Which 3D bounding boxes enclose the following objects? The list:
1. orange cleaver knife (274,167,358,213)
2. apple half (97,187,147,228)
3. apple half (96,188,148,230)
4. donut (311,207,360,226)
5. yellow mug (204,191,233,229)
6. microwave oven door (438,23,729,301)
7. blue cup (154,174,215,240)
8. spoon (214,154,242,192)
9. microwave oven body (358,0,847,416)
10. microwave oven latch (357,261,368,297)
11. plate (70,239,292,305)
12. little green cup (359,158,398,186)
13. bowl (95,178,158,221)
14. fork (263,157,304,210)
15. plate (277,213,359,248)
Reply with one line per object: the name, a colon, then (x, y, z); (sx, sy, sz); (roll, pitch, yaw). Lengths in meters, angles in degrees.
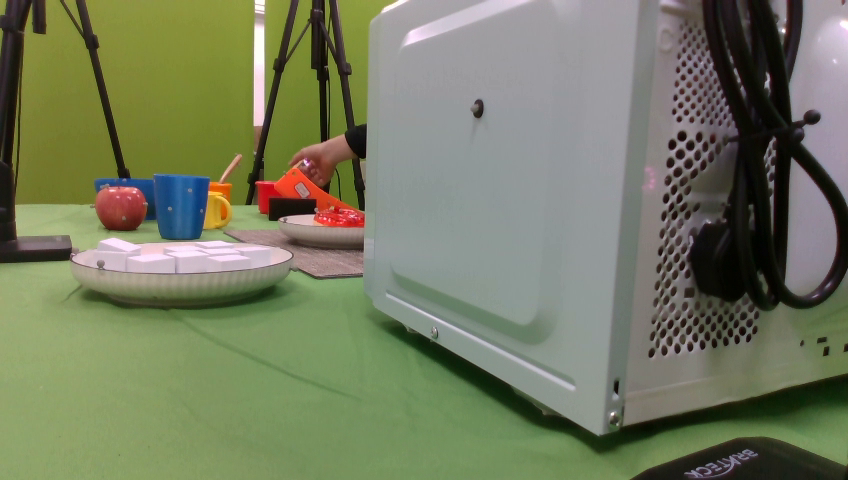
orange cleaver knife: (-0.238, -0.091, 1.380); (0.212, 0.077, 0.012); (31, -4, -19)
apple half: (-0.534, -0.059, 1.071); (0.082, 0.081, 0.032); (-1, 11, -25)
apple half: (-0.517, -0.052, 1.036); (0.081, 0.074, 0.053); (3, 10, -26)
donut: (-0.137, -0.029, 0.995); (0.099, 0.048, 0.099); (4, 9, 0)
yellow mug: (-0.415, -0.057, 1.131); (0.130, 0.064, 0.100); (5, 8, 16)
microwave oven door: (0.181, -0.072, 0.620); (0.358, 0.243, 0.039); (-2, 8, -29)
blue cup: (-0.391, -0.053, 0.978); (0.093, 0.100, 0.092); (4, 6, 0)
spoon: (-0.439, -0.124, 1.318); (0.041, 0.193, 0.022); (5, -36, 17)
microwave oven body: (0.211, -0.047, 0.474); (0.444, 0.260, 0.324); (-1, 7, -28)
microwave oven latch: (-0.019, 0.033, 0.530); (0.079, 0.029, 0.030); (-1, 7, -26)
plate: (-0.242, 0.031, 0.618); (0.208, 0.039, 0.207); (2, 8, 0)
little green cup: (-0.069, -0.105, 0.935); (0.061, 0.038, 0.061); (-5, 8, 1)
bowl: (-0.576, -0.081, 1.217); (0.151, 0.077, 0.151); (3, 8, 0)
fork: (-0.345, -0.143, 1.506); (0.028, 0.019, 0.207); (-4, 46, 28)
plate: (-0.135, -0.017, 0.993); (0.209, 0.038, 0.209); (3, 8, 0)
